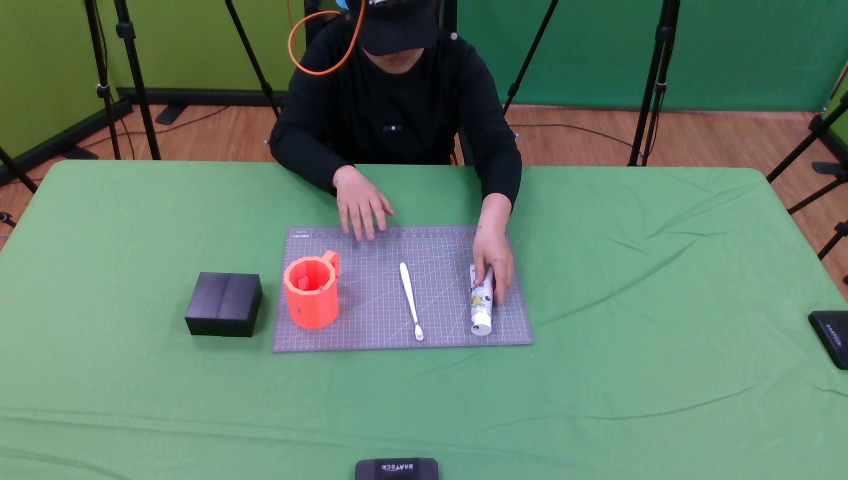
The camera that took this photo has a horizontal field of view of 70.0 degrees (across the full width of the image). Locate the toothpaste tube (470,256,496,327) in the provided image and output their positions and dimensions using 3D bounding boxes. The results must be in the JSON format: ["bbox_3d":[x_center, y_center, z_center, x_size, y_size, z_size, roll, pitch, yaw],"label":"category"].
[{"bbox_3d":[0.107,0.096,1.098,0.055,0.035,0.164,-18,41,21],"label":"toothpaste tube"}]

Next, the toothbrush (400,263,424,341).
[{"bbox_3d":[-0.025,0.106,1.093,0.014,0.017,0.180,-18,46,2],"label":"toothbrush"}]

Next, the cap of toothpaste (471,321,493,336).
[{"bbox_3d":[0.100,0.151,1.043,0.037,0.037,0.011,4,45,1],"label":"cap of toothpaste"}]

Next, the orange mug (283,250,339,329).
[{"bbox_3d":[-0.186,0.079,1.052,0.083,0.101,0.126,20,52,15],"label":"orange mug"}]
